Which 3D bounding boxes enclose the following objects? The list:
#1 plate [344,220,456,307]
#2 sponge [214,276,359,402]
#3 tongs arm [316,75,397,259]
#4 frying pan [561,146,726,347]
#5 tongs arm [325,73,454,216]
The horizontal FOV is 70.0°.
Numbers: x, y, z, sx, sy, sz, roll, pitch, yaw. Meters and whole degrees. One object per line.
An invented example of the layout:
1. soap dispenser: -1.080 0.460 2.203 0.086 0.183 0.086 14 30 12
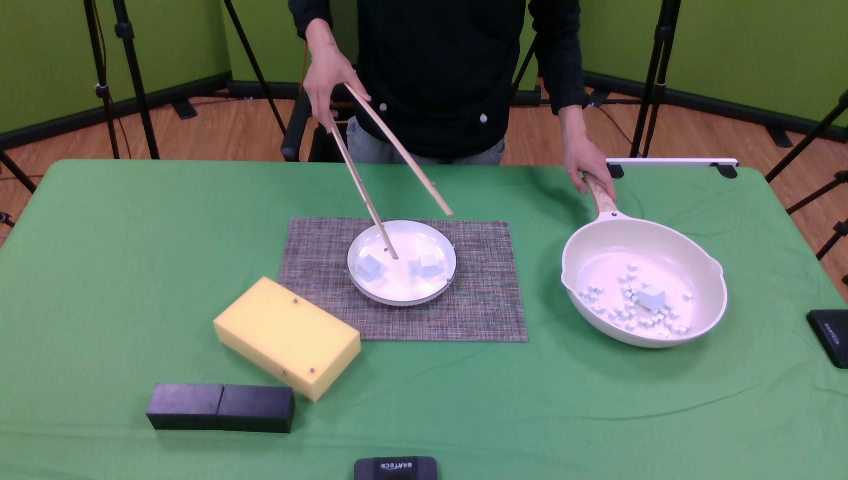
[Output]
1. plate: -0.044 0.047 1.133 0.208 0.039 0.206 3 46 -2
2. sponge: -0.224 0.158 0.998 0.206 0.061 0.118 27 52 18
3. tongs arm: -0.119 -0.140 1.111 0.051 0.026 0.383 -35 70 20
4. frying pan: 0.378 -0.005 1.175 0.307 0.103 0.484 -4 55 -9
5. tongs arm: -0.065 -0.181 1.090 0.385 0.028 0.028 52 21 22
